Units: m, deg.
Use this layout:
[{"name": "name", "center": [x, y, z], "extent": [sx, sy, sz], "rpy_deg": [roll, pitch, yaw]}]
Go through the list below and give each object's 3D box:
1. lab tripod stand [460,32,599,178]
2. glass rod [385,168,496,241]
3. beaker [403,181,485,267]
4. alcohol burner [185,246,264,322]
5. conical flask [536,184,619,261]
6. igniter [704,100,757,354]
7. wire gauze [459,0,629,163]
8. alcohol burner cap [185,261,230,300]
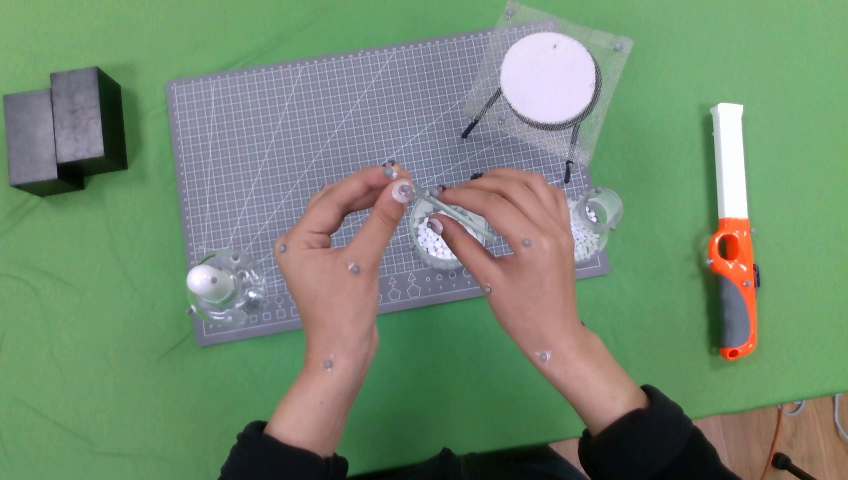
[{"name": "lab tripod stand", "center": [0.112, -0.136, 0.613], "extent": [0.148, 0.132, 0.148], "rpy_deg": [0, 83, 1]}, {"name": "glass rod", "center": [0.020, -0.021, 0.461], "extent": [0.008, 0.201, 0.008], "rpy_deg": [-6, 76, 25]}, {"name": "beaker", "center": [0.022, -0.009, 0.613], "extent": [0.084, 0.100, 0.074], "rpy_deg": [44, 85, 5]}, {"name": "alcohol burner", "center": [-0.203, 0.042, 0.598], "extent": [0.078, 0.119, 0.077], "rpy_deg": [0, 83, 1]}, {"name": "conical flask", "center": [0.159, -0.023, 0.603], "extent": [0.075, 0.122, 0.075], "rpy_deg": [0, 81, 0]}, {"name": "igniter", "center": [0.328, -0.016, 0.654], "extent": [0.057, 0.025, 0.275], "rpy_deg": [2, 82, -10]}, {"name": "wire gauze", "center": [0.108, -0.147, 0.547], "extent": [0.125, 0.011, 0.121], "rpy_deg": [22, 84, 4]}, {"name": "alcohol burner cap", "center": [-0.203, 0.035, 0.562], "extent": [0.034, 0.048, 0.033], "rpy_deg": [0, 74, -1]}]
